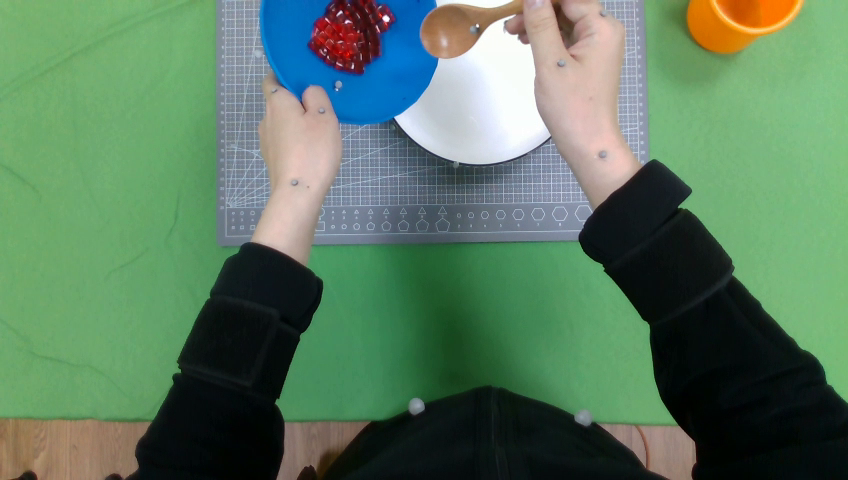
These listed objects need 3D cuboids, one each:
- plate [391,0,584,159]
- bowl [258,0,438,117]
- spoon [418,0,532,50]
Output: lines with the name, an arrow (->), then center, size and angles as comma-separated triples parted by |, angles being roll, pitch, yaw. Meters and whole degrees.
plate -> 0.056, -0.184, 0.616 | 0.209, 0.038, 0.209 | 0, 88, 2
bowl -> -0.069, -0.180, 0.515 | 0.152, 0.076, 0.152 | -5, 102, -23
spoon -> 0.061, -0.169, 0.424 | 0.021, 0.192, 0.042 | -43, 117, -27
